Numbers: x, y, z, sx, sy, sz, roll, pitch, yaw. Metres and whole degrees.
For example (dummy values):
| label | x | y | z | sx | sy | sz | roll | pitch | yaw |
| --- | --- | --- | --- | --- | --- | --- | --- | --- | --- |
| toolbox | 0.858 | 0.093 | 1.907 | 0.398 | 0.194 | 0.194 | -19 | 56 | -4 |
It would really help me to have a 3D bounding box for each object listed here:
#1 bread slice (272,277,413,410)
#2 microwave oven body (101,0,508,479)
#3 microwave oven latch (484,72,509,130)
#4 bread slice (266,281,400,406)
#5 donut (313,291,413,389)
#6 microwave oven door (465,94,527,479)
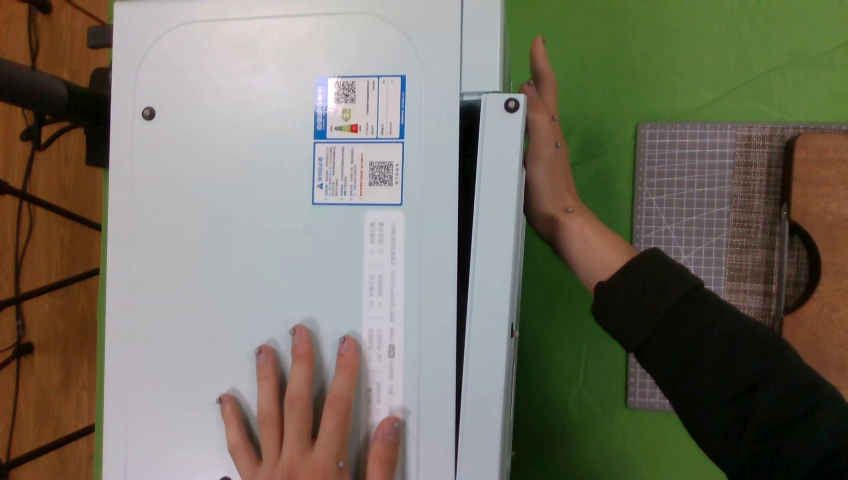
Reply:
| label | x | y | z | sx | sy | sz | roll | pitch | yaw |
| --- | --- | --- | --- | --- | --- | --- | --- | --- | --- |
| bread slice | -0.090 | 0.099 | 0.610 | 0.131 | 0.019 | 0.105 | 22 | 94 | 7 |
| microwave oven body | -0.090 | 0.035 | 0.558 | 0.325 | 0.260 | 0.441 | 0 | 90 | 9 |
| microwave oven latch | 0.075 | -0.138 | 0.631 | 0.030 | 0.029 | 0.079 | 0 | 90 | 9 |
| bread slice | -0.082 | 0.091 | 0.543 | 0.134 | 0.018 | 0.107 | -2 | 90 | 21 |
| donut | -0.059 | 0.096 | 0.584 | 0.099 | 0.048 | 0.099 | 0 | 104 | 1 |
| microwave oven door | 0.062 | 0.077 | 0.529 | 0.039 | 0.244 | 0.355 | 3 | 90 | 10 |
